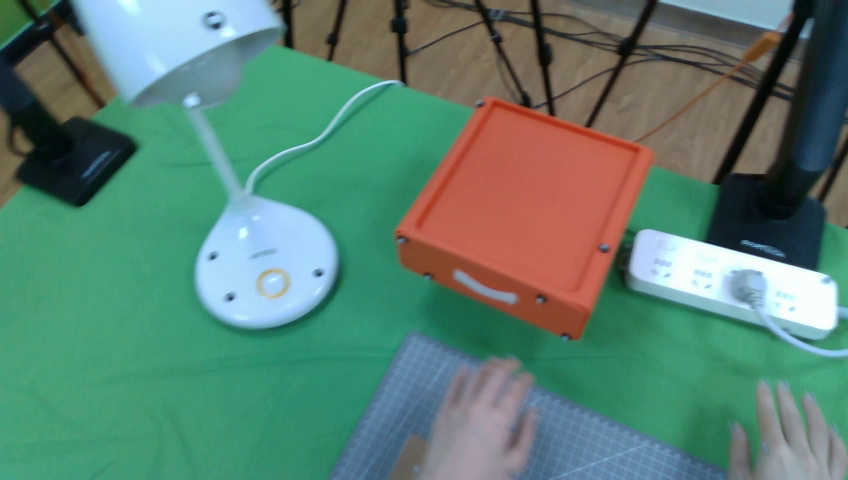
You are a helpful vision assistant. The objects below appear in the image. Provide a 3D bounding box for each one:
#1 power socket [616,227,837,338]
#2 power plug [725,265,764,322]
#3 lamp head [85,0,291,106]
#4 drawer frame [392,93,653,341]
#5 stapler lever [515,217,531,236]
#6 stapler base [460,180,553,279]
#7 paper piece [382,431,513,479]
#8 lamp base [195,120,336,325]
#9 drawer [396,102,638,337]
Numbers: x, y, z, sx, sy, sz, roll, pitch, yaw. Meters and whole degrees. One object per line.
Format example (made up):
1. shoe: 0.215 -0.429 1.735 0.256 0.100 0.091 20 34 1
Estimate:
1. power socket: 0.328 0.044 0.662 0.226 0.033 0.072 16 60 12
2. power plug: 0.326 0.057 0.627 0.035 0.053 0.072 26 62 17
3. lamp head: -0.162 -0.160 0.380 0.112 0.112 0.123 -33 100 -18
4. drawer frame: 0.105 -0.033 0.639 0.200 0.083 0.212 22 60 16
5. stapler lever: 0.075 -0.028 0.628 0.027 0.040 0.117 -36 57 -1
6. stapler base: 0.085 -0.016 0.651 0.041 0.025 0.129 -36 59 -1
7. paper piece: 0.014 0.261 0.549 0.135 0.009 0.137 21 62 18
8. lamp base: -0.191 -0.025 0.639 0.161 0.182 0.177 -26 57 -14
9. drawer: 0.106 -0.030 0.638 0.193 0.074 0.211 23 60 17
